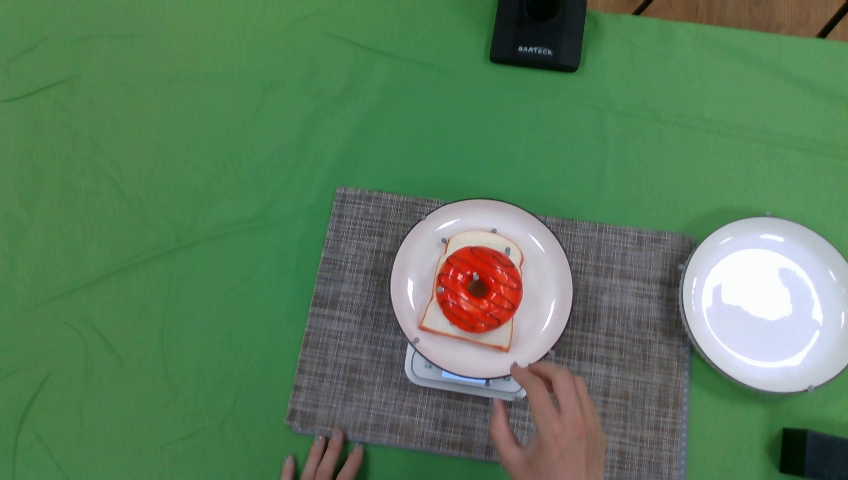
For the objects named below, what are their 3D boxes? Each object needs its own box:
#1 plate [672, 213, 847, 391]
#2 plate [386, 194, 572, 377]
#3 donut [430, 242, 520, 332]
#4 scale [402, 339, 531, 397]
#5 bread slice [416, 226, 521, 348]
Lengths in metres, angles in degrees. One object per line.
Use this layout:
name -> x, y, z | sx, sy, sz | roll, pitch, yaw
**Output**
plate -> 0.393, 0.072, 0.709 | 0.207, 0.039, 0.206 | 0, 76, 2
plate -> 0.061, 0.050, 0.690 | 0.209, 0.038, 0.208 | 0, 76, 1
donut -> 0.055, 0.051, 0.662 | 0.099, 0.048, 0.098 | 0, 79, -1
scale -> 0.060, 0.076, 0.718 | 0.148, 0.032, 0.200 | 9, 76, 4
bread slice -> 0.056, 0.048, 0.693 | 0.105, 0.019, 0.131 | 13, 77, 3
